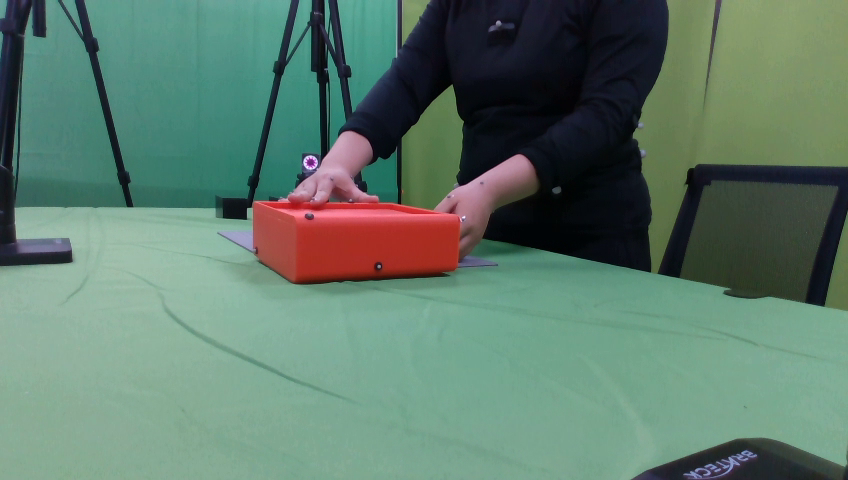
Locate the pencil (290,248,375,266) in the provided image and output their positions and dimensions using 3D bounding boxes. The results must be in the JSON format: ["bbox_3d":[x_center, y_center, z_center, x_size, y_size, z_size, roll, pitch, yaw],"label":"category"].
[{"bbox_3d":[-0.112,0.020,0.792,0.012,0.012,0.195,6,6,25],"label":"pencil"}]

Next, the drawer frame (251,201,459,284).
[{"bbox_3d":[-0.095,-0.005,0.788,0.215,0.082,0.200,-3,10,-30],"label":"drawer frame"}]

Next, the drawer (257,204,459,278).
[{"bbox_3d":[-0.091,-0.004,0.792,0.213,0.073,0.193,-3,10,-29],"label":"drawer"}]
